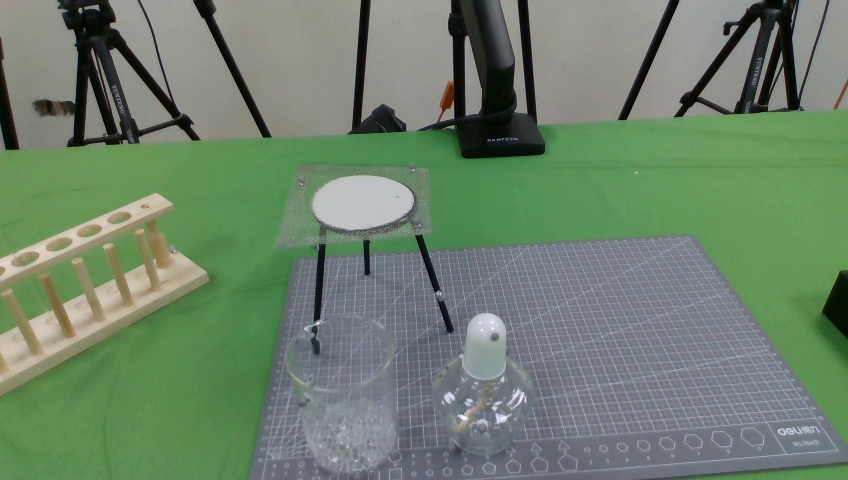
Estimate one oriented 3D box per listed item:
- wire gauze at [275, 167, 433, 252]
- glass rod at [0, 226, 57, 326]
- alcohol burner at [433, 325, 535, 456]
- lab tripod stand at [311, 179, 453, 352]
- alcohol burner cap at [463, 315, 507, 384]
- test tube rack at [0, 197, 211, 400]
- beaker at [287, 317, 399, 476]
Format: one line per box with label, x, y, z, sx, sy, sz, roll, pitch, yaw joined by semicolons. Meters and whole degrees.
wire gauze;-0.054;-0.031;0.508;0.121;0.011;0.124;-1;36;-1
glass rod;-0.368;-0.002;0.529;0.008;0.201;0.008;-6;33;4
alcohol burner;0.045;0.103;0.446;0.078;0.120;0.077;-1;37;1
lab tripod stand;-0.044;0.022;0.549;0.148;0.132;0.147;0;34;0
alcohol burner cap;0.044;0.074;0.426;0.034;0.048;0.033;1;37;0
test tube rack;-0.332;0.053;0.564;0.066;0.086;0.242;26;44;34
beaker;-0.057;0.116;0.445;0.083;0.101;0.074;25;43;33
